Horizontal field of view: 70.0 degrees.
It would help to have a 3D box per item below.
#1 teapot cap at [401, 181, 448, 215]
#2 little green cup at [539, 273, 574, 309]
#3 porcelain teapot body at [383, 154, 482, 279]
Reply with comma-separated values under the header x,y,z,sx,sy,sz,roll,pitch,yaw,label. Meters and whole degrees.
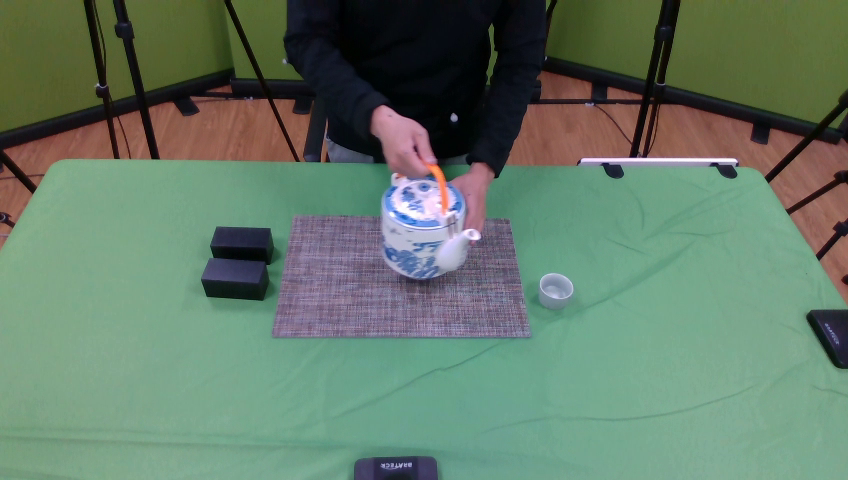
x,y,z,sx,sy,sz,roll,pitch,yaw,label
0.003,-0.075,1.028,0.085,0.044,0.084,1,48,-1,teapot cap
0.240,0.096,1.113,0.061,0.039,0.061,2,47,-2,little green cup
0.022,-0.032,1.041,0.145,0.226,0.204,-32,55,-32,porcelain teapot body
